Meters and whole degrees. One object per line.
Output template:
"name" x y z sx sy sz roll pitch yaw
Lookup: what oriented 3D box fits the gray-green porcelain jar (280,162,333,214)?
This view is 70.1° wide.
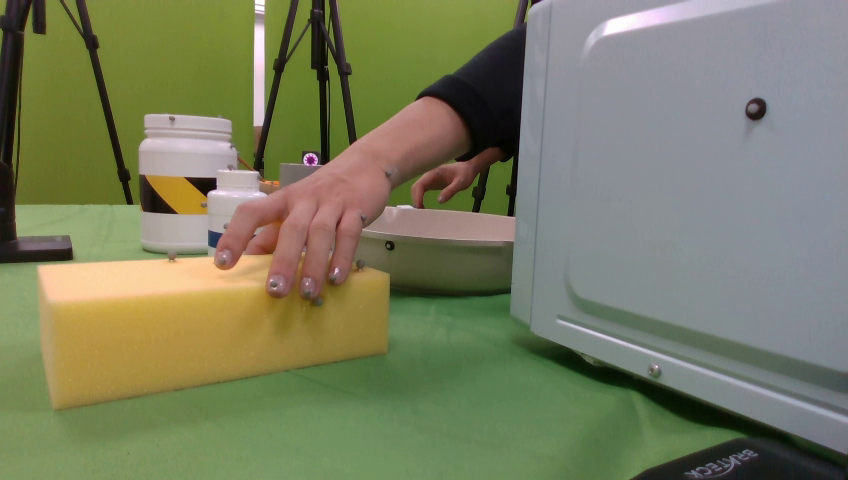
"gray-green porcelain jar" -0.238 -0.092 1.221 0.106 0.126 0.106 2 7 0

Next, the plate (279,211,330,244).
"plate" -0.139 -0.022 1.021 0.209 0.038 0.209 2 8 0

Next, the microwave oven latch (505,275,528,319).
"microwave oven latch" 0.100 0.042 0.471 0.079 0.029 0.030 -2 7 -29

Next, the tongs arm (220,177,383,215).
"tongs arm" -0.285 -0.103 1.445 0.389 0.027 0.028 9 -4 -23

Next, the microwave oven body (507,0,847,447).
"microwave oven body" 0.331 -0.042 0.425 0.444 0.260 0.324 -2 8 -31

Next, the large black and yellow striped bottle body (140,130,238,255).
"large black and yellow striped bottle body" -0.336 -0.078 0.871 0.131 0.184 0.130 2 8 0

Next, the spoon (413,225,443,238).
"spoon" 0.017 -0.020 1.112 0.041 0.021 0.194 -13 3 12

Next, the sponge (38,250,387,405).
"sponge" -0.142 0.048 0.418 0.208 0.061 0.117 -2 8 -36

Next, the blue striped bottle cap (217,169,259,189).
"blue striped bottle cap" -0.202 -0.067 0.656 0.044 0.020 0.044 0 10 0

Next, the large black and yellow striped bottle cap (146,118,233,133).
"large black and yellow striped bottle cap" -0.333 -0.163 0.861 0.115 0.019 0.115 1 9 0

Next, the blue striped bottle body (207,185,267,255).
"blue striped bottle body" -0.204 -0.016 0.663 0.063 0.120 0.063 2 7 0

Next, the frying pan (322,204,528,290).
"frying pan" 0.109 -0.018 0.800 0.490 0.102 0.305 -12 16 -30

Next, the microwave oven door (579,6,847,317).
"microwave oven door" 0.294 -0.067 0.570 0.358 0.243 0.039 -3 9 -31

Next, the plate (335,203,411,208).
"plate" -0.089 -0.053 1.309 0.208 0.039 0.207 2 8 0

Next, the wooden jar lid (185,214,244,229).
"wooden jar lid" -0.404 -0.037 1.169 0.108 0.020 0.108 3 7 0

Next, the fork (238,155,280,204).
"fork" -0.396 -0.143 1.486 0.028 0.018 0.208 19 -26 44

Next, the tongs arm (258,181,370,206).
"tongs arm" -0.241 -0.095 1.373 0.387 0.026 0.050 9 -1 -37
